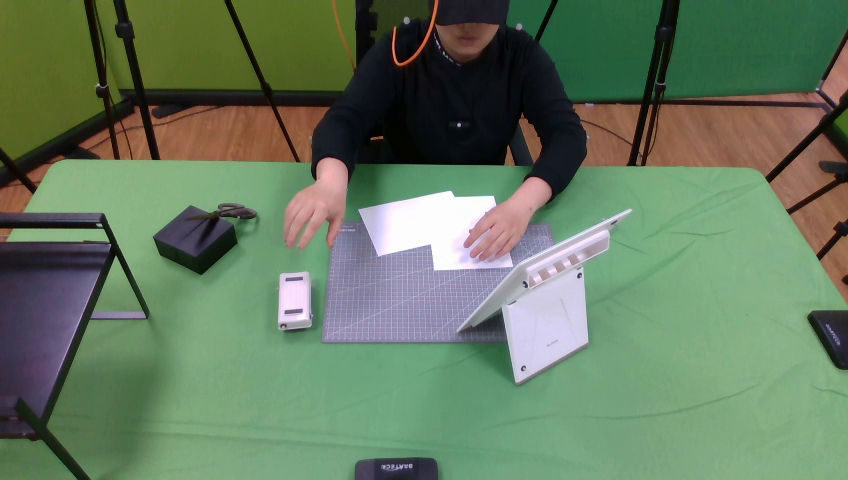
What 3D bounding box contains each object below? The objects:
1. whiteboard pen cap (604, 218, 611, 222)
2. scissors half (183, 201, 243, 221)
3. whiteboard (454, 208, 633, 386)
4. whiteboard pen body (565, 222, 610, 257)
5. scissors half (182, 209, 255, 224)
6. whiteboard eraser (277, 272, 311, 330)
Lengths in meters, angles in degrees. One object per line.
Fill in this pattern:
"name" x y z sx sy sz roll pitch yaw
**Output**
"whiteboard pen cap" 0.378 -0.031 1.255 0.033 0.018 0.018 -33 57 -29
"scissors half" -0.405 -0.054 1.163 0.040 0.013 0.175 27 18 7
"whiteboard" 0.211 0.111 0.954 0.217 0.306 0.143 -22 72 -24
"whiteboard pen body" 0.334 -0.004 1.228 0.141 0.017 0.017 -32 56 -29
"scissors half" -0.389 -0.043 1.158 0.040 0.013 0.175 39 21 23
"whiteboard eraser" -0.228 0.108 1.062 0.056 0.042 0.112 -3 46 -10
